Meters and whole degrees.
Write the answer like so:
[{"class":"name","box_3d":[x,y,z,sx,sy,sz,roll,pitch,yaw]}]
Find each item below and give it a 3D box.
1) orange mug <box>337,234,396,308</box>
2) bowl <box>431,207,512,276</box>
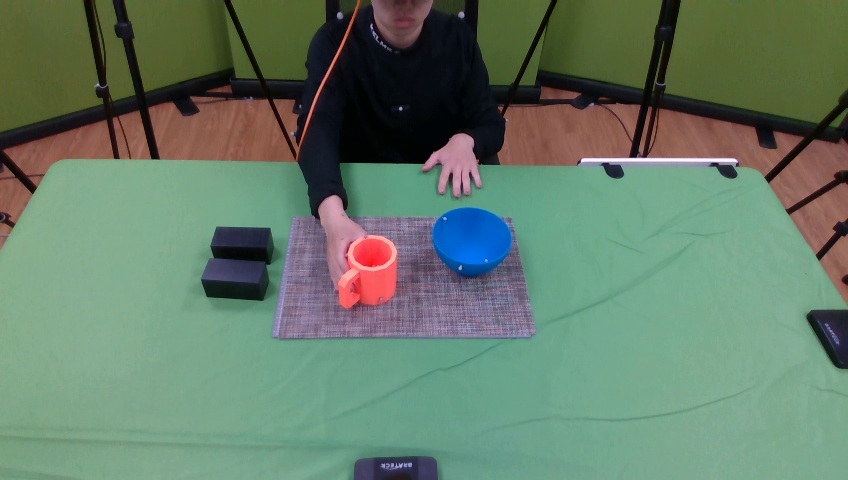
[{"class":"orange mug","box_3d":[-0.104,0.062,1.072,0.083,0.101,0.126,31,48,24]},{"class":"bowl","box_3d":[0.086,0.016,1.146,0.151,0.077,0.150,2,46,-2]}]
